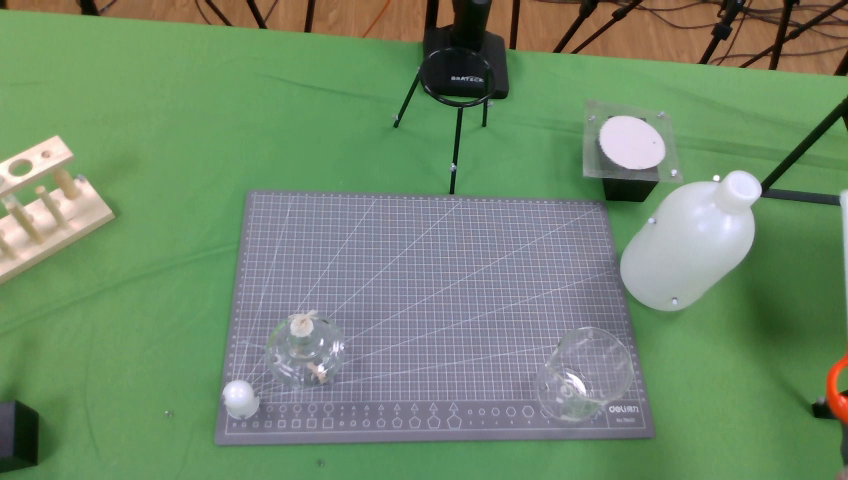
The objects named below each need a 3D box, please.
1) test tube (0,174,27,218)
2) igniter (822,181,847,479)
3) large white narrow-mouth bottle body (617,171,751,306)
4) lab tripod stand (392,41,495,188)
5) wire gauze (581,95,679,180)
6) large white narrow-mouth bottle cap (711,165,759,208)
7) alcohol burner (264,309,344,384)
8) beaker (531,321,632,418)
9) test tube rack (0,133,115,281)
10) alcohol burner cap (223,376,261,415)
[{"bbox_3d":[-0.430,-0.066,0.599,0.017,0.151,0.017,4,58,-6],"label":"test tube"},{"bbox_3d":[0.344,0.086,0.473,0.057,0.025,0.275,-2,75,33],"label":"igniter"},{"bbox_3d":[0.289,-0.009,0.657,0.102,0.196,0.101,3,60,-5],"label":"large white narrow-mouth bottle body"},{"bbox_3d":[0.032,-0.159,0.742,0.149,0.132,0.147,4,62,-7],"label":"lab tripod stand"},{"bbox_3d":[0.259,-0.130,0.771,0.121,0.011,0.124,8,60,-3],"label":"wire gauze"},{"bbox_3d":[0.298,-0.052,0.583,0.038,0.024,0.037,3,61,-5],"label":"large white narrow-mouth bottle cap"},{"bbox_3d":[-0.117,0.097,0.589,0.078,0.120,0.077,4,59,-7],"label":"alcohol burner"},{"bbox_3d":[0.151,0.135,0.611,0.084,0.101,0.073,-2,61,-7],"label":"beaker"},{"bbox_3d":[-0.460,-0.005,0.619,0.242,0.086,0.066,-37,72,-24],"label":"test tube rack"},{"bbox_3d":[-0.180,0.150,0.592,0.034,0.048,0.033,2,62,-4],"label":"alcohol burner cap"}]
